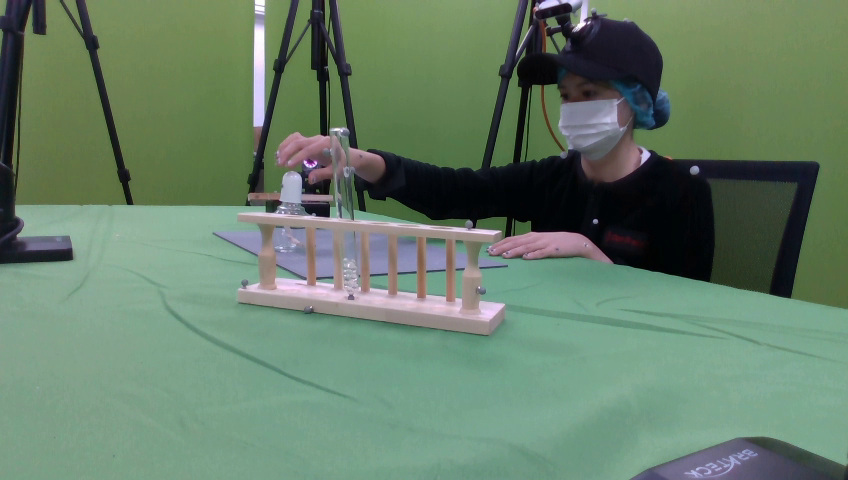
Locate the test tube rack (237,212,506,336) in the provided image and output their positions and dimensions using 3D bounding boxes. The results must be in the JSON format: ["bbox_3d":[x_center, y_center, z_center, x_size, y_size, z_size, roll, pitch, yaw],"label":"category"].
[{"bbox_3d":[-0.049,0.024,0.552,0.242,0.085,0.067,5,8,18],"label":"test tube rack"}]

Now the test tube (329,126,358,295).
[{"bbox_3d":[-0.071,-0.025,0.534,0.017,0.150,0.017,-3,10,1],"label":"test tube"}]

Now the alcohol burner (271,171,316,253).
[{"bbox_3d":[-0.196,-0.041,0.884,0.078,0.119,0.078,3,5,0],"label":"alcohol burner"}]

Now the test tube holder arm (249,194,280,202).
[{"bbox_3d":[-0.302,-0.084,1.197,0.088,0.015,0.010,-2,1,-37],"label":"test tube holder arm"}]

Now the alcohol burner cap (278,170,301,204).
[{"bbox_3d":[-0.194,-0.077,0.879,0.034,0.048,0.034,6,10,-1],"label":"alcohol burner cap"}]

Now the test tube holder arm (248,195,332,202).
[{"bbox_3d":[-0.269,-0.085,1.229,0.179,0.015,0.013,-2,1,-37],"label":"test tube holder arm"}]
